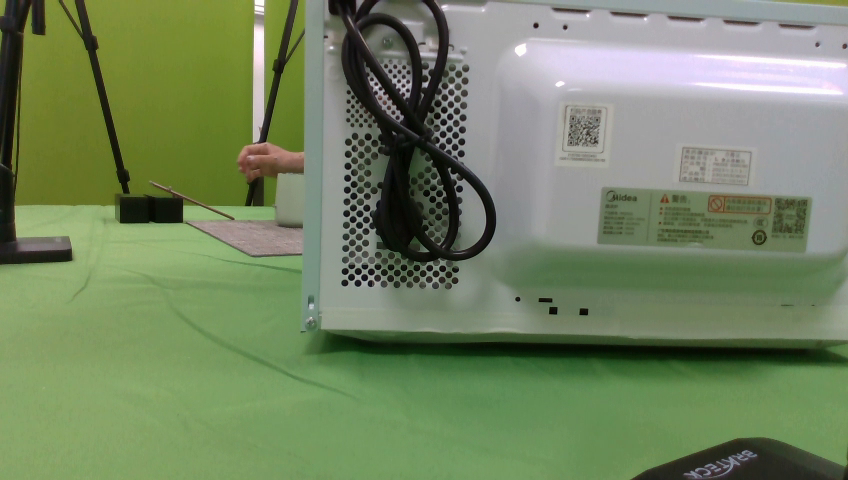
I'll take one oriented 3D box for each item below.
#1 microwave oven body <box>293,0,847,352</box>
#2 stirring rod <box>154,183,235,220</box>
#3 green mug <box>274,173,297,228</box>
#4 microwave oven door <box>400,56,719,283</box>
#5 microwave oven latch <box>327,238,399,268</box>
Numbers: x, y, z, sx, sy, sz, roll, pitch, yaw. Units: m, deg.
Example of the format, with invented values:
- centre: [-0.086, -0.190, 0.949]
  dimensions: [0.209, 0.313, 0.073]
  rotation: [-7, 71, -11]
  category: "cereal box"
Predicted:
- centre: [0.122, -0.055, 0.550]
  dimensions: [0.442, 0.260, 0.325]
  rotation: [3, 7, -5]
  category: "microwave oven body"
- centre: [-0.472, -0.079, 1.252]
  dimensions: [0.177, 0.006, 0.014]
  rotation: [27, 4, -35]
  category: "stirring rod"
- centre: [-0.242, -0.081, 1.221]
  dimensions: [0.092, 0.105, 0.126]
  rotation: [8, 9, 40]
  category: "green mug"
- centre: [0.155, -0.078, 0.697]
  dimensions: [0.356, 0.243, 0.039]
  rotation: [2, 8, -5]
  category: "microwave oven door"
- centre: [-0.069, 0.015, 0.694]
  dimensions: [0.079, 0.029, 0.030]
  rotation: [3, 7, -3]
  category: "microwave oven latch"
